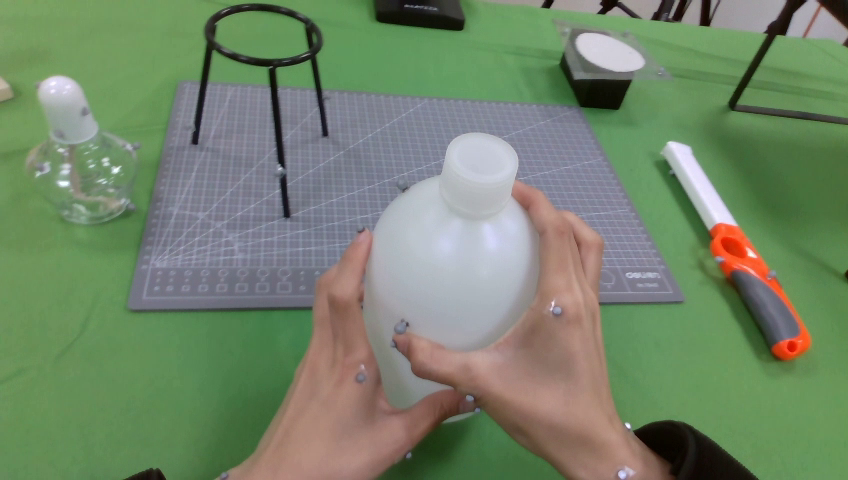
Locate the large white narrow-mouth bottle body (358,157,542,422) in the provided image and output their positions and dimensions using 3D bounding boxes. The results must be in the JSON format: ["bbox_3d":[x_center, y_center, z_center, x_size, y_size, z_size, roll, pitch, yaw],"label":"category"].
[{"bbox_3d":[0.014,0.024,0.354,0.102,0.196,0.101,4,50,-5],"label":"large white narrow-mouth bottle body"}]

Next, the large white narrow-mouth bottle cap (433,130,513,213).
[{"bbox_3d":[0.023,-0.033,0.289,0.038,0.024,0.037,5,50,-5],"label":"large white narrow-mouth bottle cap"}]

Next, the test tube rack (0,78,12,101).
[{"bbox_3d":[-0.482,-0.126,0.478,0.066,0.086,0.242,37,50,21],"label":"test tube rack"}]

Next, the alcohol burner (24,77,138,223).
[{"bbox_3d":[-0.262,-0.071,0.458,0.078,0.120,0.077,8,44,-7],"label":"alcohol burner"}]

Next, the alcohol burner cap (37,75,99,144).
[{"bbox_3d":[-0.256,-0.095,0.432,0.034,0.048,0.033,6,52,-7],"label":"alcohol burner cap"}]

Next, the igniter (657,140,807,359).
[{"bbox_3d":[0.289,-0.004,0.585,0.057,0.025,0.273,10,45,-19],"label":"igniter"}]

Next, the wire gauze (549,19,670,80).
[{"bbox_3d":[0.219,-0.228,0.730,0.122,0.011,0.123,2,47,-13],"label":"wire gauze"}]

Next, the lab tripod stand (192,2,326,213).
[{"bbox_3d":[-0.132,-0.117,0.516,0.149,0.132,0.147,8,46,-8],"label":"lab tripod stand"}]
